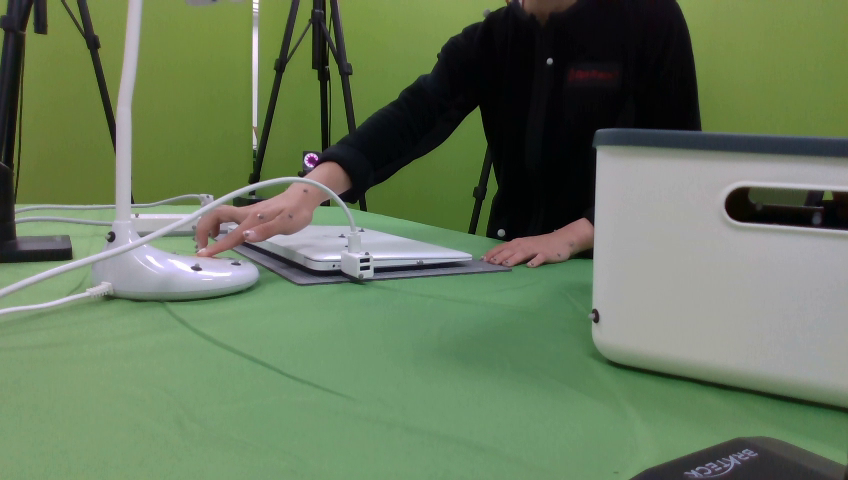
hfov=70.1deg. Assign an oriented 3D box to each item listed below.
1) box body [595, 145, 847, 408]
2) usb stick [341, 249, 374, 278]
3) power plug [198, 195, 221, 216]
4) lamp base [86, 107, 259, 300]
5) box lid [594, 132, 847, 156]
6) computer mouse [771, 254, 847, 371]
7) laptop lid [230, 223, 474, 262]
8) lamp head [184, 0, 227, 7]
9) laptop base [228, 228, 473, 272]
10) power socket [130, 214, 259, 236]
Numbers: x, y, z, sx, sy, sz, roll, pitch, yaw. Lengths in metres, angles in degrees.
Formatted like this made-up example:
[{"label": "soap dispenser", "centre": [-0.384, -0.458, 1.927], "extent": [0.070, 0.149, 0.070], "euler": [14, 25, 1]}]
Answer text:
[{"label": "box body", "centre": [0.309, 0.006, 0.510], "extent": [0.253, 0.160, 0.366], "euler": [6, 8, 29]}, {"label": "usb stick", "centre": [-0.079, 0.026, 0.686], "extent": [0.021, 0.027, 0.059], "euler": [-8, 9, -31]}, {"label": "power plug", "centre": [-0.386, -0.055, 1.088], "extent": [0.035, 0.052, 0.072], "euler": [-2, 7, -24]}, {"label": "lamp base", "centre": [-0.254, -0.039, 0.603], "extent": [0.160, 0.180, 0.179], "euler": [5, 10, 18]}, {"label": "box lid", "centre": [0.310, -0.066, 0.499], "extent": [0.262, 0.015, 0.373], "euler": [7, 8, 29]}, {"label": "computer mouse", "centre": [0.344, 0.057, 0.519], "extent": [0.063, 0.041, 0.117], "euler": [12, 47, 4]}, {"label": "laptop lid", "centre": [-0.121, 0.000, 0.888], "extent": [0.243, 0.013, 0.355], "euler": [1, 7, -33]}, {"label": "lamp head", "centre": [-0.229, -0.320, 0.627], "extent": [0.112, 0.112, 0.123], "euler": [6, -36, 26]}, {"label": "laptop base", "centre": [-0.123, 0.012, 0.889], "extent": [0.237, 0.023, 0.352], "euler": [2, 6, -35]}, {"label": "power socket", "centre": [-0.397, -0.028, 1.048], "extent": [0.228, 0.032, 0.072], "euler": [-3, 7, -35]}]
